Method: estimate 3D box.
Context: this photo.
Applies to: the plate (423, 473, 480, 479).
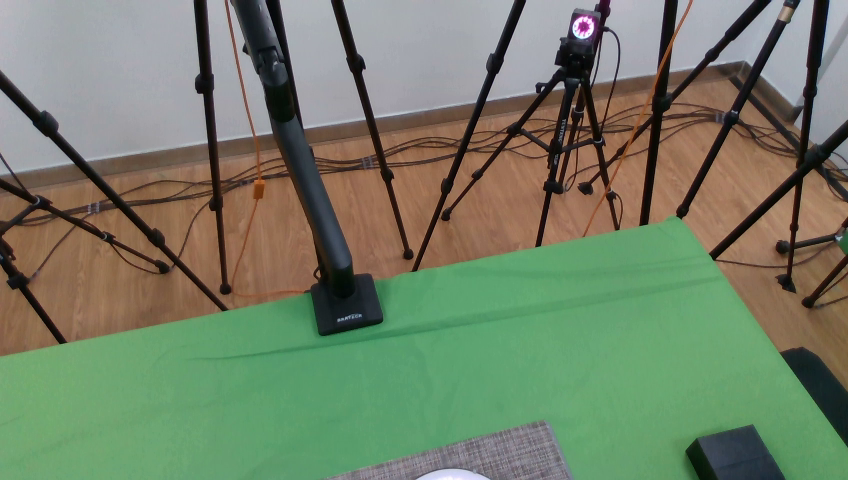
[{"bbox_3d":[0.040,0.437,0.849,0.209,0.038,0.207,1,49,-1],"label":"plate"}]
